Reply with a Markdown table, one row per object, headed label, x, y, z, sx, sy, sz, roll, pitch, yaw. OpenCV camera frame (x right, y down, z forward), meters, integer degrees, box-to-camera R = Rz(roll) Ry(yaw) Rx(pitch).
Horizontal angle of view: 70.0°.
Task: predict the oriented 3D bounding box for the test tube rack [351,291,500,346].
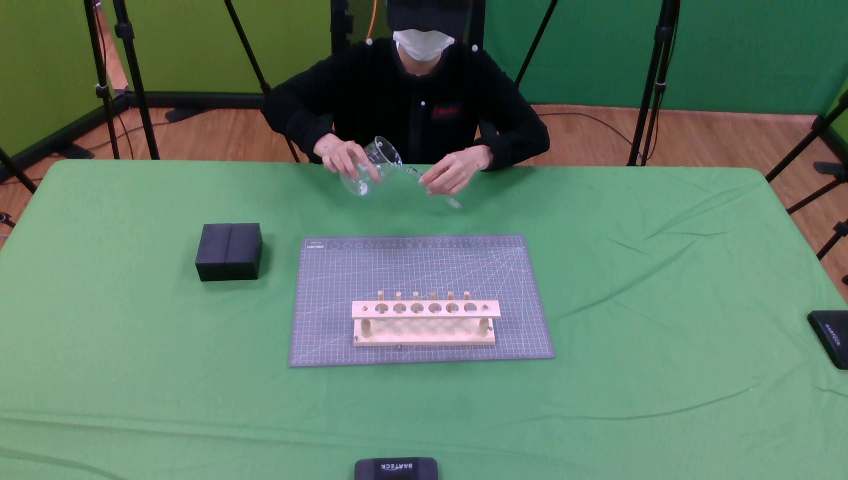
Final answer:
| label | x | y | z | sx | sy | sz | roll | pitch | yaw |
| --- | --- | --- | --- | --- | --- | --- | --- | --- | --- |
| test tube rack | 0.001 | 0.129 | 1.026 | 0.242 | 0.085 | 0.066 | 0 | 46 | -4 |

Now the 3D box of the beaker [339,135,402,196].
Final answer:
| label | x | y | z | sx | sy | sz | roll | pitch | yaw |
| --- | --- | --- | --- | --- | --- | --- | --- | --- | --- |
| beaker | -0.100 | -0.133 | 1.126 | 0.100 | 0.084 | 0.073 | -35 | 42 | 21 |

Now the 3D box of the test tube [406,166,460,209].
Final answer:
| label | x | y | z | sx | sy | sz | roll | pitch | yaw |
| --- | --- | --- | --- | --- | --- | --- | --- | --- | --- |
| test tube | 0.020 | -0.100 | 1.184 | 0.151 | 0.017 | 0.017 | 33 | 31 | -38 |
